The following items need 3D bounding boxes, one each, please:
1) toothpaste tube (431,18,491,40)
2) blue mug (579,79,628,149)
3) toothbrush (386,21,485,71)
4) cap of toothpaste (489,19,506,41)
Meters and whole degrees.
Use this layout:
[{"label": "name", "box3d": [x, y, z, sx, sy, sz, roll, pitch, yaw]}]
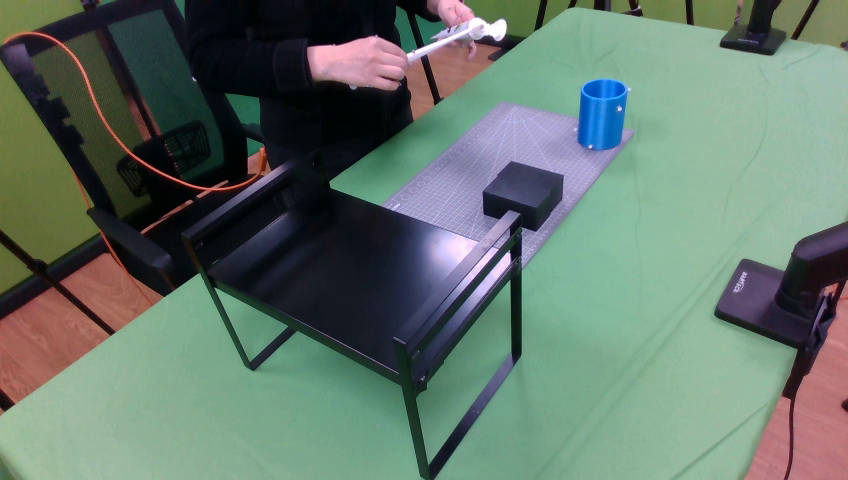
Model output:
[{"label": "toothpaste tube", "box3d": [0.071, -0.381, 1.101, 0.055, 0.034, 0.164, -20, 22, -21]}, {"label": "blue mug", "box3d": [0.336, -0.246, 1.143, 0.082, 0.106, 0.116, 0, 41, 10]}, {"label": "toothbrush", "box3d": [0.018, -0.318, 0.988, 0.182, 0.014, 0.016, -28, 60, -10]}, {"label": "cap of toothpaste", "box3d": [0.126, -0.359, 1.032, 0.011, 0.037, 0.037, 2, 32, -35]}]
